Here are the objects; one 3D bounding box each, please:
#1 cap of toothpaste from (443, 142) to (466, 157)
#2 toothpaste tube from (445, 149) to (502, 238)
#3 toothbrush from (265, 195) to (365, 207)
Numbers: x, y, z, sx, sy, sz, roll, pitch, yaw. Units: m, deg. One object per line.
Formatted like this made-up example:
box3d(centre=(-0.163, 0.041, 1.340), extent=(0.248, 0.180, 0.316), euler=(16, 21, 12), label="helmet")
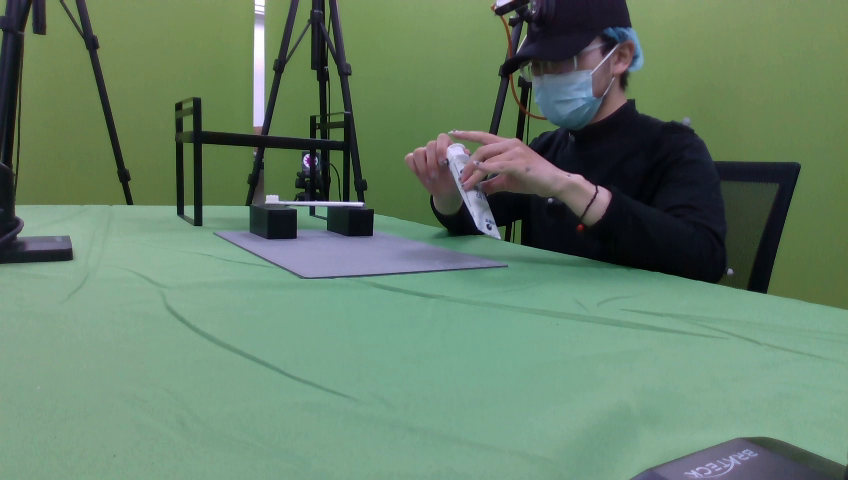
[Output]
box3d(centre=(0.048, -0.134, 0.927), extent=(0.037, 0.037, 0.011), euler=(-2, 51, -27), label="cap of toothpaste")
box3d(centre=(0.069, -0.074, 0.882), extent=(0.055, 0.034, 0.164), euler=(16, 41, -41), label="toothpaste tube")
box3d(centre=(-0.192, -0.068, 1.081), extent=(0.183, 0.016, 0.014), euler=(1, -8, -26), label="toothbrush")
